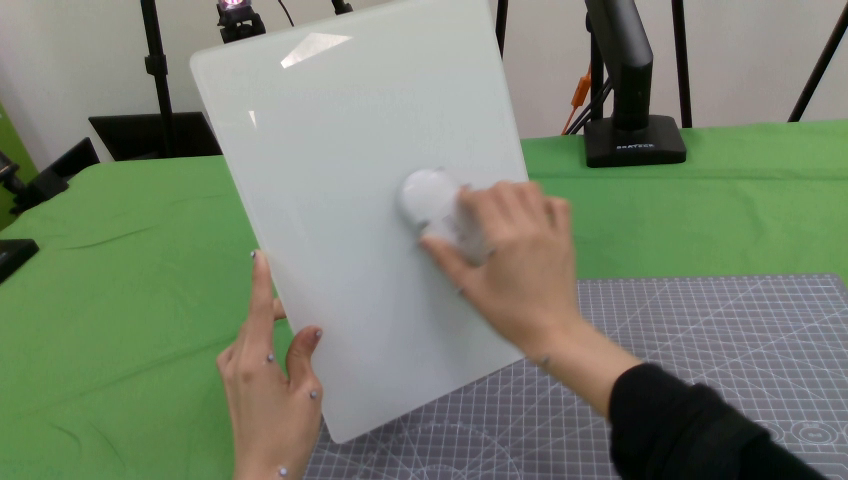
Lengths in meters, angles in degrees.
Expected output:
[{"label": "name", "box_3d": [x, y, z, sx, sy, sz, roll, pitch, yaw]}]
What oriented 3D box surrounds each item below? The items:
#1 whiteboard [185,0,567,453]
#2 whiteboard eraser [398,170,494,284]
[{"label": "whiteboard", "box_3d": [-0.037, -0.025, 0.517, 0.217, 0.307, 0.143, -21, 16, -16]}, {"label": "whiteboard eraser", "box_3d": [0.018, -0.009, 0.460, 0.041, 0.102, 0.018, -42, 24, -13]}]
